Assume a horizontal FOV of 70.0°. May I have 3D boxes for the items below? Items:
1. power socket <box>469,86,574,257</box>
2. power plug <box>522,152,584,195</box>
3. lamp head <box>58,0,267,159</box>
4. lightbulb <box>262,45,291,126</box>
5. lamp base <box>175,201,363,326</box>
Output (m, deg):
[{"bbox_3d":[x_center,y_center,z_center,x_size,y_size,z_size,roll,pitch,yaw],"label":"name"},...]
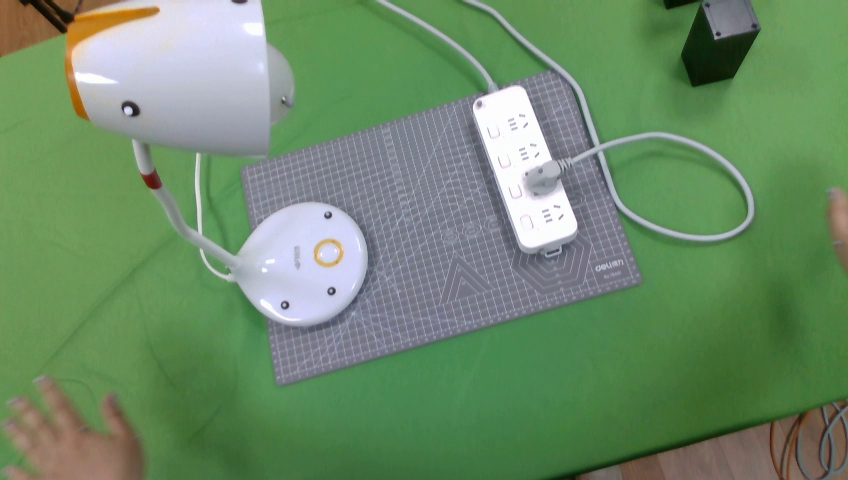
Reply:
[{"bbox_3d":[0.117,-0.089,0.741,0.072,0.033,0.225,-18,72,3],"label":"power socket"},{"bbox_3d":[0.151,-0.074,0.711,0.072,0.053,0.035,-8,74,4],"label":"power plug"},{"bbox_3d":[-0.170,-0.105,0.402,0.123,0.113,0.111,-8,71,-16],"label":"lamp head"},{"bbox_3d":[-0.144,-0.105,0.404,0.108,0.059,0.059,2,72,-19],"label":"lightbulb"},{"bbox_3d":[-0.178,0.011,0.683,0.179,0.181,0.159,-21,71,6],"label":"lamp base"}]
